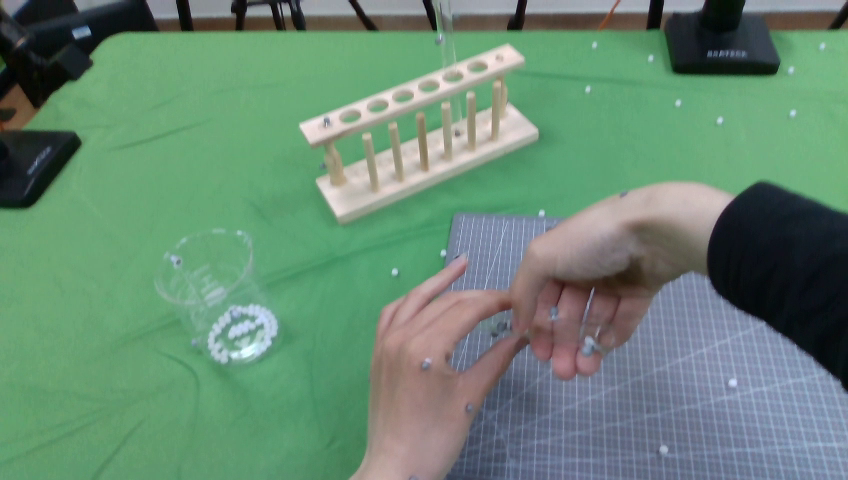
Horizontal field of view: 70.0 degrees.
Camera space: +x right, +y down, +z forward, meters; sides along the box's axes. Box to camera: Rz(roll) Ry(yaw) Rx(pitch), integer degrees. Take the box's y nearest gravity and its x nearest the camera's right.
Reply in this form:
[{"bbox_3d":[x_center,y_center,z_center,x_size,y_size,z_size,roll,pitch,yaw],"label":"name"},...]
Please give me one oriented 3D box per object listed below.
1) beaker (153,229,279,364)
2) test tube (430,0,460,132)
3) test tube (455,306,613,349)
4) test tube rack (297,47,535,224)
[{"bbox_3d":[-0.164,0.049,0.504,0.073,0.101,0.084,26,56,26],"label":"beaker"},{"bbox_3d":[0.023,-0.174,0.622,0.017,0.152,0.017,-5,45,6],"label":"test tube"},{"bbox_3d":[0.065,0.056,0.407,0.017,0.017,0.149,-40,17,-25],"label":"test tube"},{"bbox_3d":[-0.001,-0.112,0.636,0.242,0.086,0.066,-24,51,-15],"label":"test tube rack"}]
